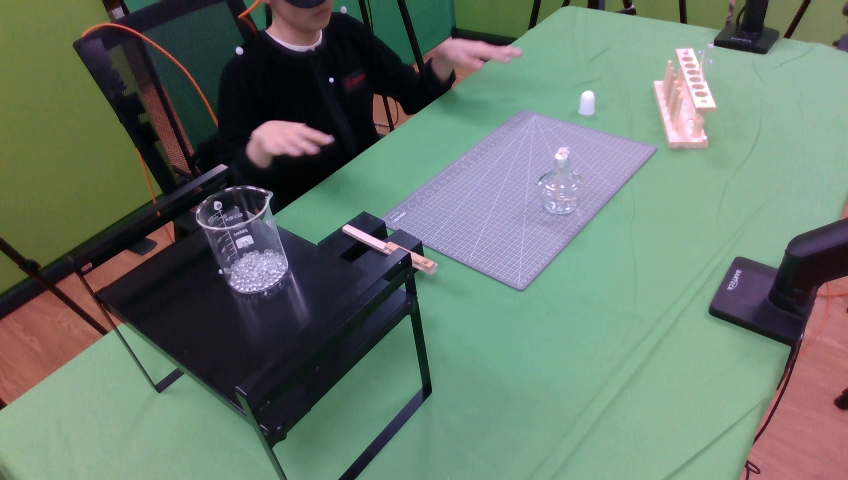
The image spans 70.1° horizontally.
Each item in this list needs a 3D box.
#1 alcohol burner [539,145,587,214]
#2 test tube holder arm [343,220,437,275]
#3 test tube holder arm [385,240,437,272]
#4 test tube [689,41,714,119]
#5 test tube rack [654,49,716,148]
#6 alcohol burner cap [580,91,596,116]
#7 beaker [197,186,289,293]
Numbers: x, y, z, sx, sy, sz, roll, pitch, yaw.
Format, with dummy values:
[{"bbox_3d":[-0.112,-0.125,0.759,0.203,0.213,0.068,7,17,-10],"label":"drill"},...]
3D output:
[{"bbox_3d":[0.226,-0.102,0.986,0.078,0.119,0.077,-6,41,6],"label":"alcohol burner"},{"bbox_3d":[-0.054,0.009,0.899,0.177,0.013,0.015,26,58,30],"label":"test tube holder arm"},{"bbox_3d":[-0.020,0.022,0.872,0.087,0.010,0.015,26,58,31],"label":"test tube holder arm"},{"bbox_3d":[0.509,-0.291,1.111,0.017,0.151,0.017,-3,39,3],"label":"test tube"},{"bbox_3d":[0.502,-0.281,1.176,0.066,0.085,0.241,1,41,11],"label":"test tube rack"},{"bbox_3d":[0.338,-0.283,1.238,0.034,0.048,0.033,-5,42,5],"label":"alcohol burner cap"},{"bbox_3d":[-0.192,0.001,0.666,0.084,0.101,0.073,-33,47,-27],"label":"beaker"}]
